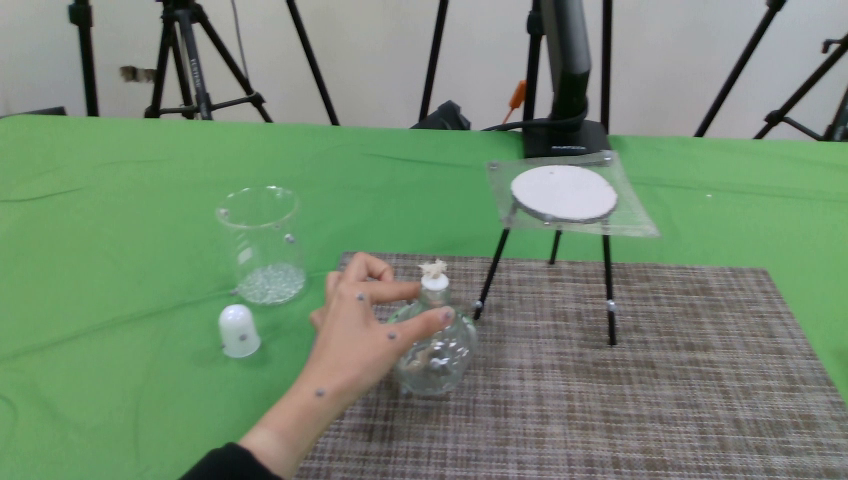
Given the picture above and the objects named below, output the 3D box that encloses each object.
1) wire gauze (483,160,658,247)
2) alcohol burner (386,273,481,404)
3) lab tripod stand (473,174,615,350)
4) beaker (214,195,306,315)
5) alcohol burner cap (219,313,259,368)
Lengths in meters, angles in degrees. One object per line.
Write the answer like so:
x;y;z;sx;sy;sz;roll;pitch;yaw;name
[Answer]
0.116;-0.033;0.508;0.125;0.011;0.120;0;36;-2;wire gauze
0.009;0.072;0.480;0.078;0.120;0.077;3;36;-2;alcohol burner
0.120;0.019;0.551;0.148;0.132;0.147;2;35;-1;lab tripod stand
-0.155;0.015;0.593;0.074;0.101;0.083;11;36;15;beaker
-0.167;0.087;0.541;0.034;0.048;0.033;0;36;0;alcohol burner cap
